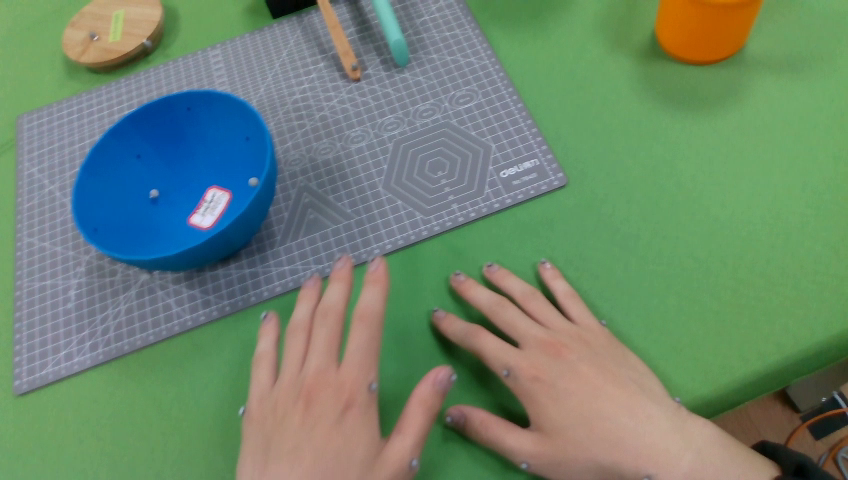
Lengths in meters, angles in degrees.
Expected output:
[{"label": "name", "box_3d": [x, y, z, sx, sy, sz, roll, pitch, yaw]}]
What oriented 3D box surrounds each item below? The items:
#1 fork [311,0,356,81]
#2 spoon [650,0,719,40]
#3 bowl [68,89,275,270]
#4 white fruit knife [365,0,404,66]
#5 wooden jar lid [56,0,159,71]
[{"label": "fork", "box_3d": [-0.108, -0.240, 0.570, 0.028, 0.019, 0.206, -23, 79, -9]}, {"label": "spoon", "box_3d": [0.261, -0.228, 0.468, 0.022, 0.194, 0.041, 10, 53, -37]}, {"label": "bowl", "box_3d": [-0.179, -0.034, 0.469, 0.151, 0.077, 0.150, -4, 61, 7]}, {"label": "white fruit knife", "box_3d": [-0.061, -0.256, 0.573, 0.016, 0.027, 0.206, -22, 74, -4]}, {"label": "wooden jar lid", "box_3d": [-0.325, -0.216, 0.630, 0.108, 0.021, 0.107, -3, 61, 6]}]
